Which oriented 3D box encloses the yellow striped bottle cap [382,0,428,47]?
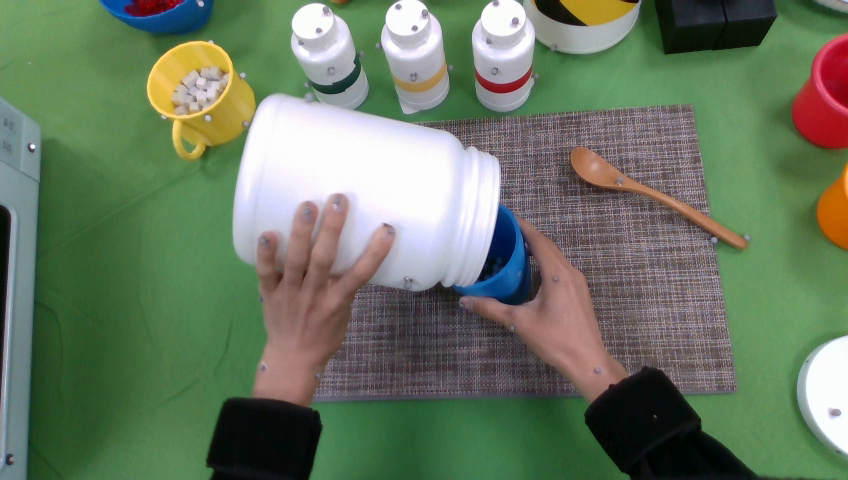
[{"bbox_3d":[-0.019,-0.214,0.598,0.044,0.019,0.044,-2,73,6],"label":"yellow striped bottle cap"}]

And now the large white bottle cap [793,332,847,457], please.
[{"bbox_3d":[0.393,0.138,0.539,0.115,0.018,0.114,-2,71,6],"label":"large white bottle cap"}]

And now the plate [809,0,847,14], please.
[{"bbox_3d":[0.485,-0.333,0.674,0.209,0.038,0.208,-2,72,6],"label":"plate"}]

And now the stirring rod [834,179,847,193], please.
[{"bbox_3d":[0.409,-0.017,0.526,0.014,0.006,0.175,0,29,4],"label":"stirring rod"}]

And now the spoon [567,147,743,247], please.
[{"bbox_3d":[0.231,-0.042,0.613,0.193,0.022,0.041,29,52,14],"label":"spoon"}]

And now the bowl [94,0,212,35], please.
[{"bbox_3d":[-0.316,-0.307,0.742,0.151,0.077,0.150,-2,72,6],"label":"bowl"}]

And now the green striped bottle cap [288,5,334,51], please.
[{"bbox_3d":[-0.113,-0.213,0.608,0.044,0.020,0.044,-2,71,5],"label":"green striped bottle cap"}]

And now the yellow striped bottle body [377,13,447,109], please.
[{"bbox_3d":[-0.012,-0.197,0.646,0.063,0.121,0.062,-3,71,8],"label":"yellow striped bottle body"}]

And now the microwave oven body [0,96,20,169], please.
[{"bbox_3d":[-0.595,0.053,0.556,0.326,0.262,0.438,-12,71,3],"label":"microwave oven body"}]

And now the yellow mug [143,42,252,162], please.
[{"bbox_3d":[-0.260,-0.151,0.690,0.100,0.064,0.130,7,73,8],"label":"yellow mug"}]

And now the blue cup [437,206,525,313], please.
[{"bbox_3d":[0.055,0.025,0.561,0.092,0.101,0.092,-7,64,15],"label":"blue cup"}]

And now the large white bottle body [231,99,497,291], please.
[{"bbox_3d":[-0.044,-0.031,0.478,0.185,0.131,0.130,9,72,-7],"label":"large white bottle body"}]

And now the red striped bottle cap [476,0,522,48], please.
[{"bbox_3d":[0.072,-0.209,0.584,0.044,0.018,0.044,-1,70,3],"label":"red striped bottle cap"}]

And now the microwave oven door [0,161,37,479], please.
[{"bbox_3d":[-0.445,0.061,0.530,0.039,0.245,0.353,-12,70,4],"label":"microwave oven door"}]

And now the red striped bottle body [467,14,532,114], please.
[{"bbox_3d":[0.080,-0.191,0.634,0.063,0.120,0.062,-4,68,11],"label":"red striped bottle body"}]

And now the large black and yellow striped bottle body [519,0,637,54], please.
[{"bbox_3d":[0.165,-0.298,0.624,0.130,0.185,0.130,-2,71,7],"label":"large black and yellow striped bottle body"}]

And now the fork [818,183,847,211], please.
[{"bbox_3d":[0.436,-0.017,0.514,0.028,0.205,0.019,-24,115,-15],"label":"fork"}]

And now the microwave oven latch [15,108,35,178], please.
[{"bbox_3d":[-0.469,-0.110,0.697,0.030,0.030,0.078,-10,71,3],"label":"microwave oven latch"}]

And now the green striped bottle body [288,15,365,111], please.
[{"bbox_3d":[-0.106,-0.196,0.657,0.063,0.120,0.063,-2,71,6],"label":"green striped bottle body"}]
